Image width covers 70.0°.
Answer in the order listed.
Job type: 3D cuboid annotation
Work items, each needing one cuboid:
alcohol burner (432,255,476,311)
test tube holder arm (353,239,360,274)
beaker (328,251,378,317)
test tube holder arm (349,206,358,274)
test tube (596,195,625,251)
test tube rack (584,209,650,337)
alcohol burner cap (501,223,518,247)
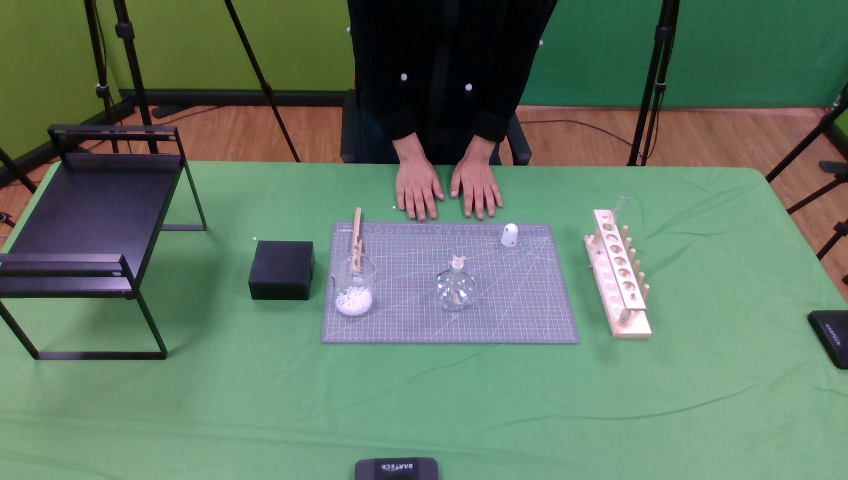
[{"bbox_3d":[0.055,0.070,1.068,0.078,0.119,0.077,3,45,-3],"label":"alcohol burner"},{"bbox_3d":[-0.130,0.030,1.159,0.010,0.015,0.087,24,38,-25],"label":"test tube holder arm"},{"bbox_3d":[-0.123,0.079,1.055,0.084,0.101,0.073,0,47,-5],"label":"beaker"},{"bbox_3d":[-0.137,-0.004,1.189,0.013,0.015,0.177,23,38,-26],"label":"test tube holder arm"},{"bbox_3d":[0.349,-0.028,1.141,0.017,0.151,0.017,1,51,-2],"label":"test tube"},{"bbox_3d":[0.365,0.056,1.129,0.067,0.085,0.240,1,46,-4],"label":"test tube rack"},{"bbox_3d":[0.172,-0.013,1.206,0.034,0.048,0.033,1,46,-1],"label":"alcohol burner cap"}]
